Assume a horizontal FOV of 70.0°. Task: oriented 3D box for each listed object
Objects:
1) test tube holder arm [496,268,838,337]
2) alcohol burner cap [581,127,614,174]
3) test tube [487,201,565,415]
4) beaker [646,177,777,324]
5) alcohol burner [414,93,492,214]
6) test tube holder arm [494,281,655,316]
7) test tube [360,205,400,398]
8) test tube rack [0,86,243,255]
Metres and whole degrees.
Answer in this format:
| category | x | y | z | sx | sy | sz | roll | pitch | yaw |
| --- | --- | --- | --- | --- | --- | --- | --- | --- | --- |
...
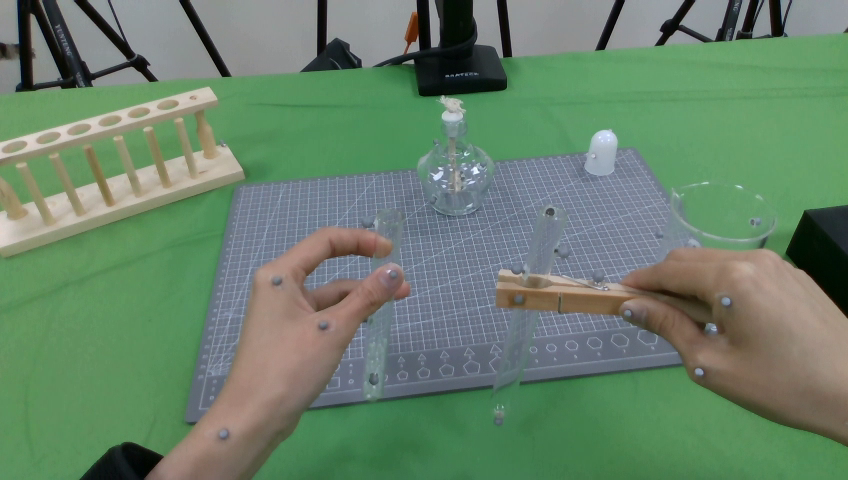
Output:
| category | x | y | z | sx | sy | sz | roll | pitch | yaw |
| --- | --- | --- | --- | --- | --- | --- | --- | --- | --- |
| test tube holder arm | 0.128 | 0.034 | 0.336 | 0.178 | 0.015 | 0.013 | 6 | 35 | 12 |
| alcohol burner cap | 0.188 | -0.099 | 0.651 | 0.034 | 0.048 | 0.033 | -1 | 41 | 2 |
| test tube | 0.057 | 0.047 | 0.357 | 0.017 | 0.151 | 0.017 | 7 | 29 | -4 |
| beaker | 0.219 | 0.010 | 0.482 | 0.074 | 0.101 | 0.083 | -26 | 46 | -24 |
| alcohol burner | 0.027 | -0.087 | 0.591 | 0.078 | 0.120 | 0.077 | -3 | 40 | 3 |
| test tube holder arm | 0.083 | 0.033 | 0.340 | 0.088 | 0.015 | 0.010 | 2 | 34 | 7 |
| test tube | -0.028 | 0.044 | 0.372 | 0.017 | 0.151 | 0.017 | 5 | 35 | -3 |
| test tube rack | -0.323 | -0.077 | 0.624 | 0.243 | 0.086 | 0.066 | -22 | 45 | -21 |
